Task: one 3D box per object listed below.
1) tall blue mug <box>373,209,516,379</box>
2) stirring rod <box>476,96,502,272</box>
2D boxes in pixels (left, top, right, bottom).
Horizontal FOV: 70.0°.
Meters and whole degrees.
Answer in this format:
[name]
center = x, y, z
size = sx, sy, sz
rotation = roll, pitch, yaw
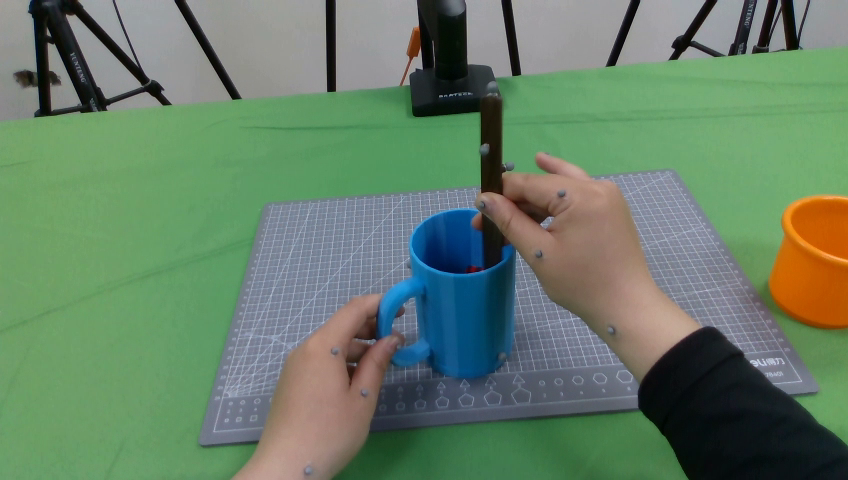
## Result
[tall blue mug]
center = 0.021, 0.051, 0.448
size = 0.077, 0.109, 0.107
rotation = 17, 44, 23
[stirring rod]
center = 0.044, -0.011, 0.399
size = 0.014, 0.178, 0.006
rotation = 7, 37, 18
